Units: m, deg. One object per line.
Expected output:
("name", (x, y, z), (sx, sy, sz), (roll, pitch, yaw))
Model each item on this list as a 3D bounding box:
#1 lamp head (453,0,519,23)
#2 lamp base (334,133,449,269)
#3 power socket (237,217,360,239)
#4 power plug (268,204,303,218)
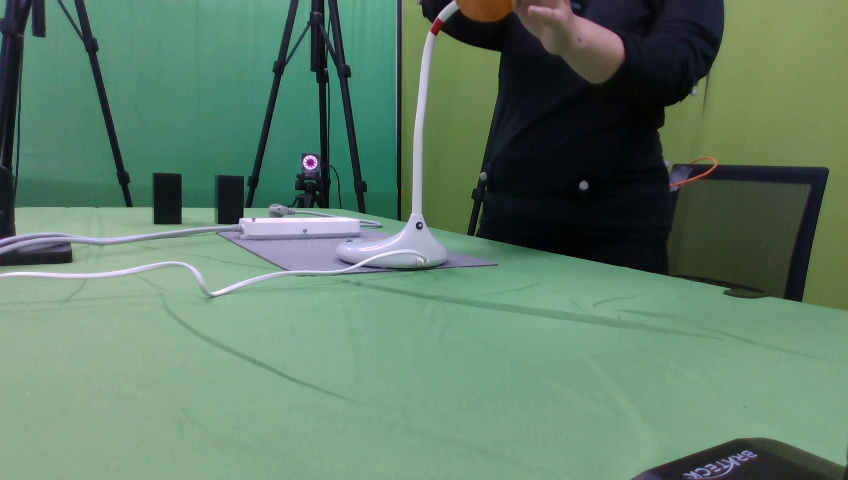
("lamp head", (0.071, -0.319, 0.705), (0.112, 0.122, 0.112), (7, -2, 1))
("lamp base", (-0.034, -0.057, 0.831), (0.161, 0.180, 0.178), (-3, 12, -36))
("power socket", (-0.221, -0.023, 1.080), (0.228, 0.032, 0.072), (-2, 8, -33))
("power plug", (-0.327, -0.060, 1.404), (0.073, 0.035, 0.052), (22, -14, -26))
